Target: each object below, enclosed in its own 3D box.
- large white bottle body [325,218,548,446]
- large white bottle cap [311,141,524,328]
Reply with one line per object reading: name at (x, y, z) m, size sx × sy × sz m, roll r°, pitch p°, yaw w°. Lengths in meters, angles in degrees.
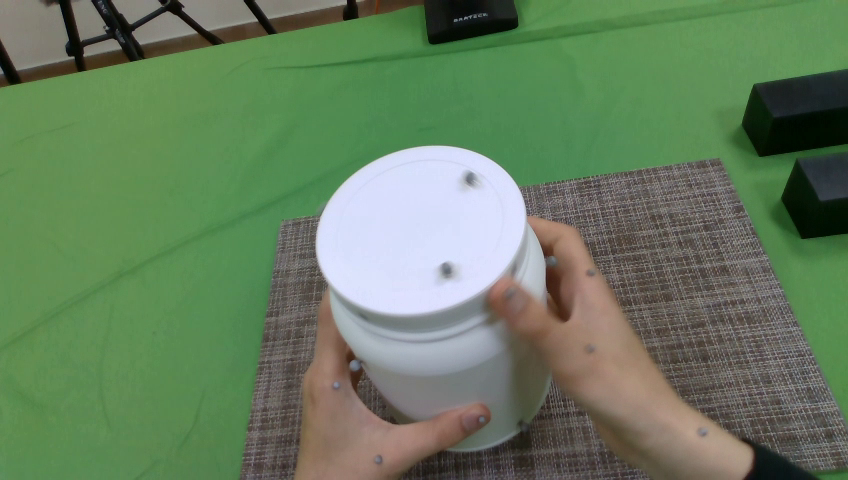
large white bottle body at (0.013, 0.045, 0.397) m, size 0.130 × 0.186 × 0.129 m, roll -6°, pitch 53°, yaw 9°
large white bottle cap at (-0.005, -0.007, 0.325) m, size 0.114 × 0.018 × 0.113 m, roll -6°, pitch 54°, yaw 9°
